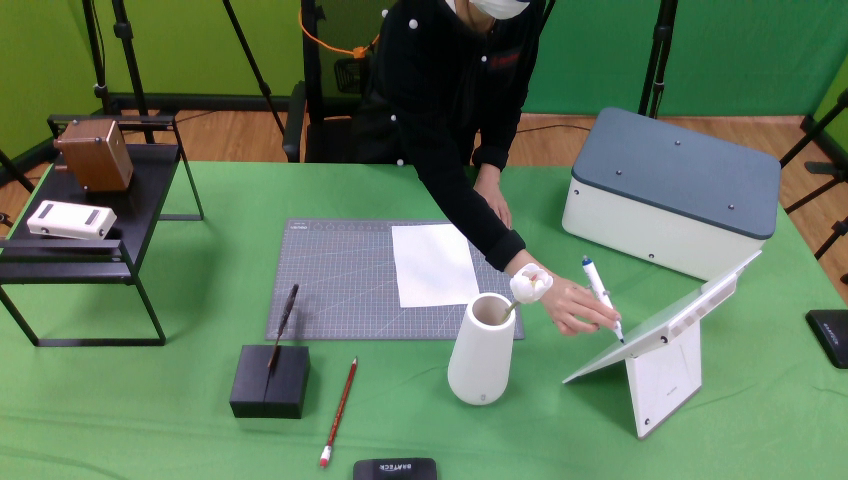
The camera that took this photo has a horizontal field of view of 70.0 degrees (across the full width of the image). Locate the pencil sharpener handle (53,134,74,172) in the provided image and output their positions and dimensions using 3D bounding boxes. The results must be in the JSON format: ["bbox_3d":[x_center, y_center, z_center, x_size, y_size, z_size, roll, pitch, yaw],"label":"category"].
[{"bbox_3d":[-0.577,-0.138,0.961,0.031,0.068,0.036,-4,34,-7],"label":"pencil sharpener handle"}]

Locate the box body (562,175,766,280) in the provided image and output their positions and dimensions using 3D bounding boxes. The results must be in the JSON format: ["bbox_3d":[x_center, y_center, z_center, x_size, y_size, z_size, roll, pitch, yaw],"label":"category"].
[{"bbox_3d":[0.486,-0.088,1.222,0.363,0.161,0.253,20,48,15],"label":"box body"}]

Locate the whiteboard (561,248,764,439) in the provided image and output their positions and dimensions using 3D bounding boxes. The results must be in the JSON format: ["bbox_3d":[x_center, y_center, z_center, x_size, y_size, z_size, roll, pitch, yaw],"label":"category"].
[{"bbox_3d":[0.386,0.176,0.905,0.217,0.306,0.143,-26,72,-27],"label":"whiteboard"}]

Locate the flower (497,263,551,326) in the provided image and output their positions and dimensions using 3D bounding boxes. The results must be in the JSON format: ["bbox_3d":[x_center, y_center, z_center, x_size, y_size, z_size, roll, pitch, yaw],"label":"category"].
[{"bbox_3d":[0.103,0.121,0.852,0.044,0.363,0.038,-1,64,-9],"label":"flower"}]

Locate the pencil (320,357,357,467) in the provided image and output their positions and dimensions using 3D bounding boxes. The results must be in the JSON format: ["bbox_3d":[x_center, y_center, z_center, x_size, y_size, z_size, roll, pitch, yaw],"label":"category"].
[{"bbox_3d":[-0.130,0.261,0.947,0.012,0.012,0.193,10,45,5],"label":"pencil"}]

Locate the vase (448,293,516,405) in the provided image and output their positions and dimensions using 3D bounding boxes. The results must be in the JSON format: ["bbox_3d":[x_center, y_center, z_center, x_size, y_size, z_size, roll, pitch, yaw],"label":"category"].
[{"bbox_3d":[0.091,0.169,0.921,0.098,0.201,0.097,3,47,-3],"label":"vase"}]

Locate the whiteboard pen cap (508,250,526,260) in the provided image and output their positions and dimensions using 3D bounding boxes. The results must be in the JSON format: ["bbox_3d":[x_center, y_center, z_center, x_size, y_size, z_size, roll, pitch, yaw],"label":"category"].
[{"bbox_3d":[0.181,0.029,1.185,0.033,0.018,0.018,-4,47,-14],"label":"whiteboard pen cap"}]

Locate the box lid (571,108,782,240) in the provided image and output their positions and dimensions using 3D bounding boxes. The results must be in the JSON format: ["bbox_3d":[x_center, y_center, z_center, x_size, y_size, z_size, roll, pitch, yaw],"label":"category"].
[{"bbox_3d":[0.491,-0.139,1.168,0.370,0.015,0.262,21,49,15],"label":"box lid"}]

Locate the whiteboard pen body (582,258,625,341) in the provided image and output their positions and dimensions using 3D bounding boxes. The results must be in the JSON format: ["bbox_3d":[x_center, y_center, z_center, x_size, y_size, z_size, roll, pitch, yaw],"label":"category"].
[{"bbox_3d":[0.270,0.091,0.903,0.017,0.017,0.141,-30,98,-28],"label":"whiteboard pen body"}]

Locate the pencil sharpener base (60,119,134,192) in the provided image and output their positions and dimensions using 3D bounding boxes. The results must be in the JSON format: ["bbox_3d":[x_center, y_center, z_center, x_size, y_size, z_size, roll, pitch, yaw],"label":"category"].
[{"bbox_3d":[-0.528,-0.135,0.979,0.077,0.107,0.061,-4,47,-7],"label":"pencil sharpener base"}]

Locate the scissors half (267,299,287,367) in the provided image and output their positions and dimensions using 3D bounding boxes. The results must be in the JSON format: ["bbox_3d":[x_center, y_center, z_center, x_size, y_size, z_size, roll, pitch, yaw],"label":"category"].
[{"bbox_3d":[-0.239,0.150,0.997,0.013,0.040,0.174,24,24,-13],"label":"scissors half"}]

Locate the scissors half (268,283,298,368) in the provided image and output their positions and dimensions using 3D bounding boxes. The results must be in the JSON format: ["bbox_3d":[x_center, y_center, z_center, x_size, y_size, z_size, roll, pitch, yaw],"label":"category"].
[{"bbox_3d":[-0.230,0.135,0.986,0.013,0.040,0.174,19,43,-11],"label":"scissors half"}]

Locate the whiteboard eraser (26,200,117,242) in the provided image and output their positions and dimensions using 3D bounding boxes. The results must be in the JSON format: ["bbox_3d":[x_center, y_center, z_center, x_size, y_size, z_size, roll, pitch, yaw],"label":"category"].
[{"bbox_3d":[-0.532,-0.026,0.919,0.113,0.042,0.055,7,45,3],"label":"whiteboard eraser"}]
